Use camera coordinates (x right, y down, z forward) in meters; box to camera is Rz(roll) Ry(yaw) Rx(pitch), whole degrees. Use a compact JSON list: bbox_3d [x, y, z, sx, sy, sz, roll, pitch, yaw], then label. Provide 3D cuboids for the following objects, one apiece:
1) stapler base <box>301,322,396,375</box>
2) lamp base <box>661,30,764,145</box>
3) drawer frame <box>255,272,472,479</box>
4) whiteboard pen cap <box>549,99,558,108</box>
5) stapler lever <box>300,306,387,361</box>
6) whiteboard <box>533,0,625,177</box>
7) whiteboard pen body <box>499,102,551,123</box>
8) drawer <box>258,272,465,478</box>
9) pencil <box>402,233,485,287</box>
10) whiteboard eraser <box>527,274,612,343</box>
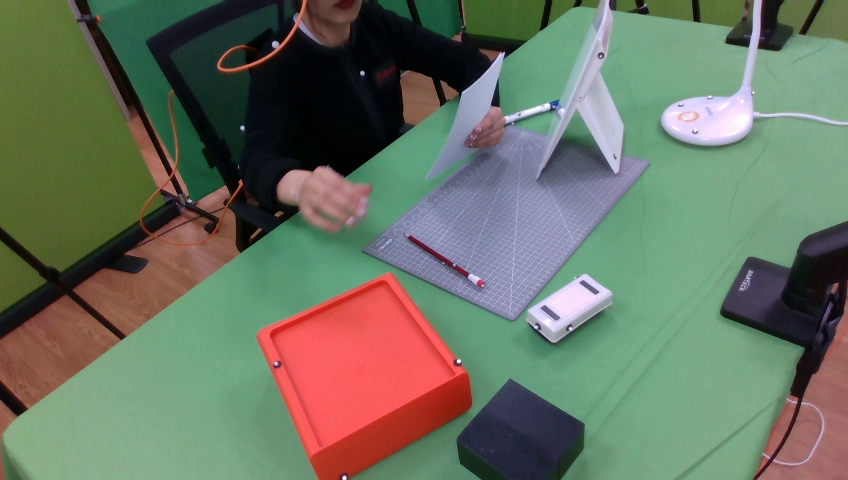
[{"bbox_3d":[-0.103,0.139,0.814,0.131,0.024,0.041,-20,38,-12],"label":"stapler base"},{"bbox_3d":[0.535,-0.287,1.096,0.179,0.181,0.159,-10,40,-4],"label":"lamp base"},{"bbox_3d":[-0.079,0.161,0.760,0.202,0.083,0.211,-24,43,-18],"label":"drawer frame"},{"bbox_3d":[0.275,-0.287,1.268,0.033,0.018,0.018,-17,41,-14],"label":"whiteboard pen cap"},{"bbox_3d":[-0.107,0.122,0.799,0.118,0.040,0.026,-18,38,-13],"label":"stapler lever"},{"bbox_3d":[0.321,-0.258,1.049,0.144,0.306,0.217,20,45,4],"label":"whiteboard"},{"bbox_3d":[0.221,-0.268,1.256,0.141,0.017,0.017,-19,41,-13],"label":"whiteboard pen body"},{"bbox_3d":[-0.081,0.160,0.764,0.195,0.073,0.210,-23,43,-17],"label":"drawer"},{"bbox_3d":[0.025,0.028,0.949,0.012,0.012,0.192,-34,44,-26],"label":"pencil"},{"bbox_3d":[0.198,0.094,0.820,0.113,0.042,0.055,-30,43,-22],"label":"whiteboard eraser"}]
